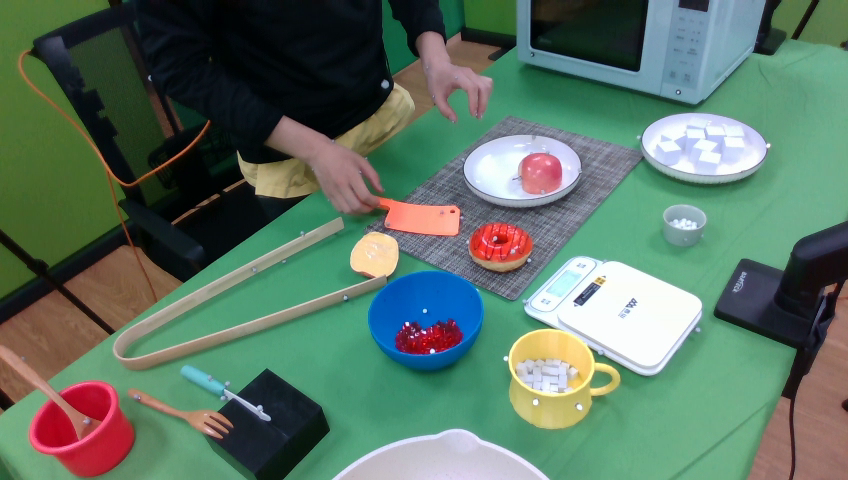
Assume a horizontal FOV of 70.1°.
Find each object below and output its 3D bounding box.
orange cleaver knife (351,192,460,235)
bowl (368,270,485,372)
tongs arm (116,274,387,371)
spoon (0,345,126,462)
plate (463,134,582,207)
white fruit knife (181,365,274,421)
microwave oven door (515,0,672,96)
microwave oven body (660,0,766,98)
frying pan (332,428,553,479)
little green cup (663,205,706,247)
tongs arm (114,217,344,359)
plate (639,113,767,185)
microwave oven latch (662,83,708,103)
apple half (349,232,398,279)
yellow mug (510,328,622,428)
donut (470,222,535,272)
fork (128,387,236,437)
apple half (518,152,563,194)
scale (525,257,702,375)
[{"bbox_3d":[-0.036,-0.045,1.028,0.210,0.012,0.077,11,48,17],"label":"orange cleaver knife"},{"bbox_3d":[0.007,0.118,0.791,0.151,0.077,0.150,-4,40,4],"label":"bowl"},{"bbox_3d":[-0.237,0.116,0.870,0.389,0.028,0.028,-18,49,-12],"label":"tongs arm"},{"bbox_3d":[-0.434,0.192,0.720,0.194,0.021,0.042,47,54,-7],"label":"spoon"},{"bbox_3d":[0.173,-0.119,1.070,0.209,0.038,0.208,-4,40,4],"label":"plate"},{"bbox_3d":[-0.245,0.187,0.747,0.205,0.027,0.016,9,41,40],"label":"white fruit knife"},{"bbox_3d":[0.343,-0.455,1.259,0.353,0.245,0.039,26,51,33],"label":"microwave oven door"},{"bbox_3d":[0.472,-0.513,1.317,0.438,0.261,0.327,26,51,34],"label":"microwave oven body"},{"bbox_3d":[-0.089,0.306,0.564,0.487,0.103,0.306,10,41,7],"label":"frying pan"},{"bbox_3d":[0.396,-0.020,0.926,0.061,0.039,0.061,-4,40,4],"label":"little green cup"},{"bbox_3d":[-0.280,0.068,0.927,0.386,0.026,0.050,-29,49,-23],"label":"tongs arm"},{"bbox_3d":[0.489,-0.157,1.074,0.207,0.039,0.206,-4,40,4],"label":"plate"},{"bbox_3d":[0.518,-0.296,1.204,0.078,0.029,0.030,28,52,35],"label":"microwave oven latch"},{"bbox_3d":[-0.073,0.028,0.938,0.081,0.033,0.081,-3,68,8],"label":"apple half"},{"bbox_3d":[0.168,0.164,0.722,0.130,0.064,0.099,0,40,8],"label":"yellow mug"},{"bbox_3d":[0.119,0.009,0.923,0.099,0.048,0.098,-4,38,3],"label":"donut"},{"bbox_3d":[-0.305,0.207,0.744,0.206,0.019,0.028,3,41,36],"label":"fork"},{"bbox_3d":[0.203,-0.124,1.047,0.074,0.053,0.080,-1,41,3],"label":"apple half"},{"bbox_3d":[0.254,0.091,0.821,0.199,0.032,0.149,28,51,35],"label":"scale"}]
